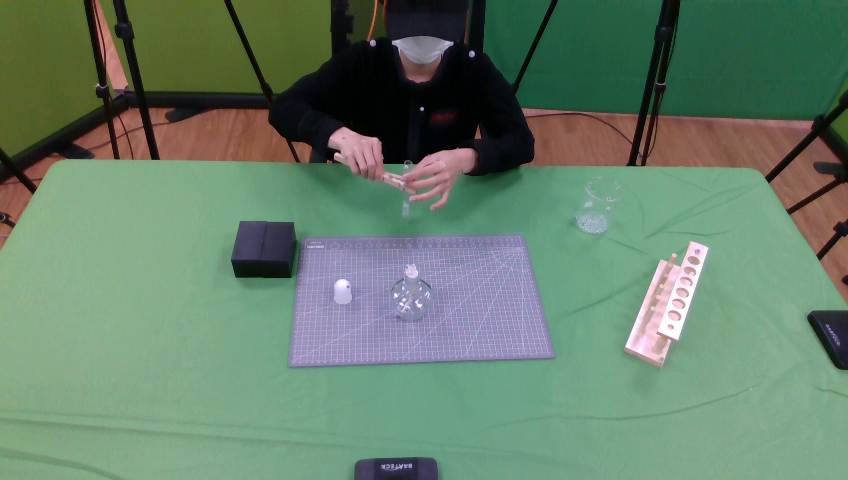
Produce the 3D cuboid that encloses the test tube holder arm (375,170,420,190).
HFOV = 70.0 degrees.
[{"bbox_3d":[-0.052,-0.115,1.155,0.088,0.015,0.010,14,44,1],"label":"test tube holder arm"}]

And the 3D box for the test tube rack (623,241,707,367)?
[{"bbox_3d":[0.435,0.104,1.089,0.066,0.085,0.242,24,49,18],"label":"test tube rack"}]

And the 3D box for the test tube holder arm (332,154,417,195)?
[{"bbox_3d":[-0.095,-0.126,1.156,0.178,0.015,0.013,22,44,9],"label":"test tube holder arm"}]

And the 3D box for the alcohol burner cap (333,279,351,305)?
[{"bbox_3d":[-0.147,0.090,1.083,0.034,0.048,0.033,2,46,-2],"label":"alcohol burner cap"}]

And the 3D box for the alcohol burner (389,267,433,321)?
[{"bbox_3d":[-0.022,0.085,1.046,0.078,0.119,0.077,2,48,-2],"label":"alcohol burner"}]

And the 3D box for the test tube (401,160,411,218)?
[{"bbox_3d":[-0.035,-0.094,1.163,0.017,0.151,0.017,2,51,-3],"label":"test tube"}]

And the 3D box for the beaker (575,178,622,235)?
[{"bbox_3d":[0.356,-0.068,1.239,0.084,0.101,0.073,-18,50,-21],"label":"beaker"}]
